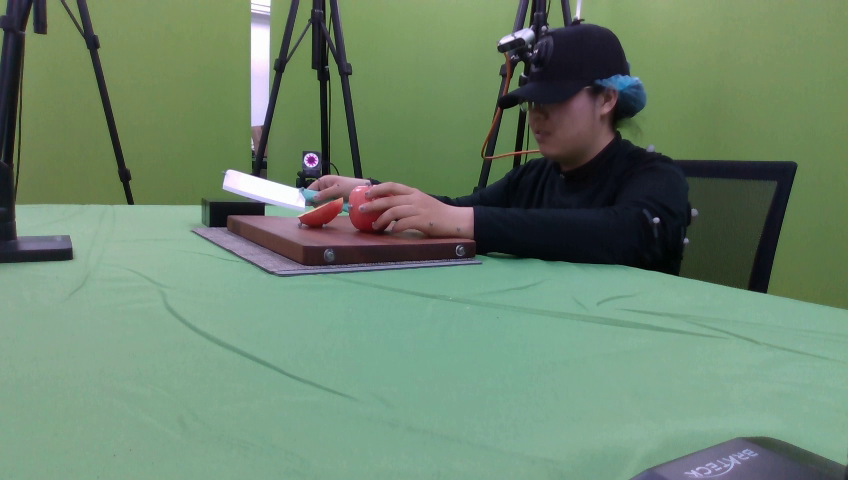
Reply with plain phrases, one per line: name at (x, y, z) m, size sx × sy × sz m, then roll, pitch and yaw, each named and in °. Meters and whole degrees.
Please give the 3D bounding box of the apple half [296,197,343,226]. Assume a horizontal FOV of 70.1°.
apple half at (-0.163, -0.041, 0.979) m, size 0.081 × 0.033 × 0.081 m, roll -21°, pitch 7°, yaw 3°

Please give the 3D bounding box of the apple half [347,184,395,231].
apple half at (-0.075, -0.049, 0.948) m, size 0.053 × 0.074 × 0.081 m, roll 13°, pitch 8°, yaw 33°

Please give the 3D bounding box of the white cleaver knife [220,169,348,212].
white cleaver knife at (-0.267, -0.085, 1.228) m, size 0.288 × 0.065 × 0.021 m, roll 13°, pitch -37°, yaw -27°
